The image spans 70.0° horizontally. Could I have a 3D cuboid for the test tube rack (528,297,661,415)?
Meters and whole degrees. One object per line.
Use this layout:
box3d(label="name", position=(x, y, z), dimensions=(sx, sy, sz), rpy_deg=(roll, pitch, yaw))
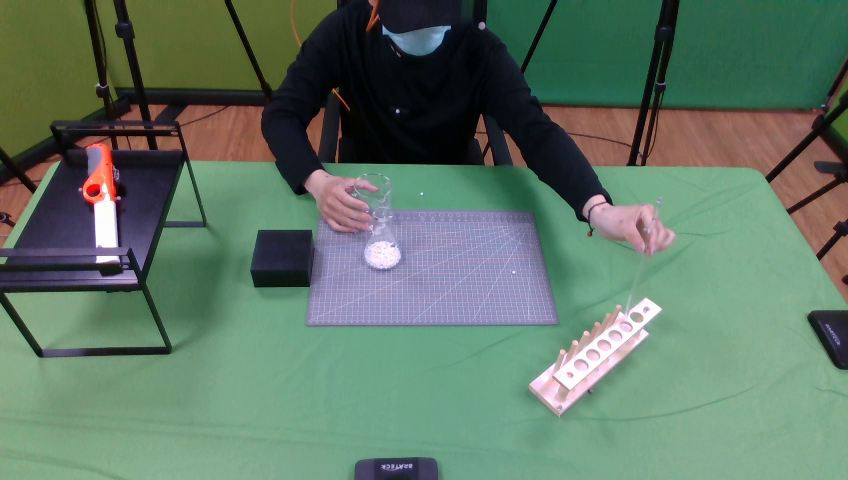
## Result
box3d(label="test tube rack", position=(0.285, 0.178, 1.004), dimensions=(0.242, 0.085, 0.066), rpy_deg=(-31, 56, -29))

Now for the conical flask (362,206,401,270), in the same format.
box3d(label="conical flask", position=(-0.078, -0.008, 1.127), dimensions=(0.075, 0.122, 0.075), rpy_deg=(2, 46, -2))

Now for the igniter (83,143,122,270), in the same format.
box3d(label="igniter", position=(-0.508, -0.063, 0.962), dimensions=(0.057, 0.025, 0.274), rpy_deg=(-14, 53, -18))

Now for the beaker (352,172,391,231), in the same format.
box3d(label="beaker", position=(-0.101, -0.072, 1.202), dimensions=(0.074, 0.101, 0.083), rpy_deg=(-20, 52, -21))

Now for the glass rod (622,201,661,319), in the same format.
box3d(label="glass rod", position=(0.349, 0.034, 0.974), dimensions=(0.008, 0.200, 0.008), rpy_deg=(12, 13, -3))
